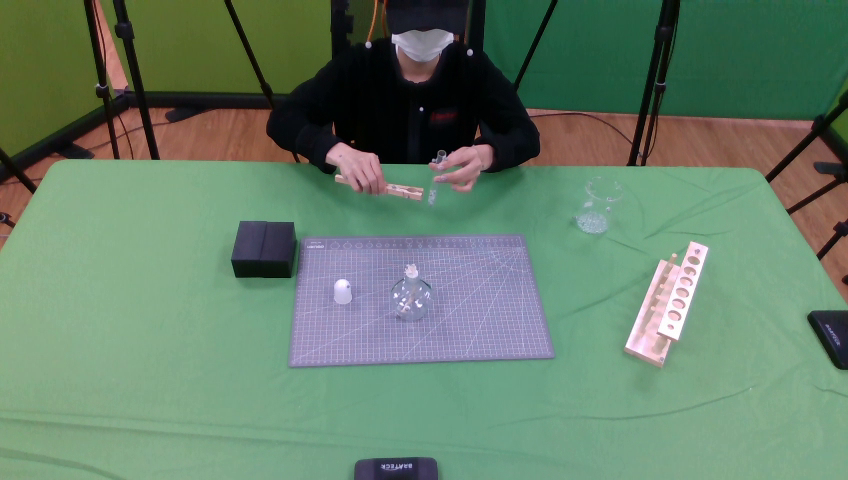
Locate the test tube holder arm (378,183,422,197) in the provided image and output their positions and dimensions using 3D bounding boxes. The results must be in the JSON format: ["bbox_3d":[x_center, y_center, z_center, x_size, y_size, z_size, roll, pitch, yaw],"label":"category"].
[{"bbox_3d":[-0.046,-0.098,1.174,0.088,0.015,0.010,8,42,6],"label":"test tube holder arm"}]

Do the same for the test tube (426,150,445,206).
[{"bbox_3d":[0.020,-0.111,1.114,0.017,0.151,0.017,4,57,-6],"label":"test tube"}]

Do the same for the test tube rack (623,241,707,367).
[{"bbox_3d":[0.435,0.104,1.089,0.066,0.085,0.242,24,49,19],"label":"test tube rack"}]

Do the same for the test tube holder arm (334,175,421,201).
[{"bbox_3d":[-0.091,-0.102,1.177,0.178,0.015,0.013,12,42,11],"label":"test tube holder arm"}]

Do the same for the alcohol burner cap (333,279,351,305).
[{"bbox_3d":[-0.148,0.090,1.083,0.034,0.048,0.033,3,47,-2],"label":"alcohol burner cap"}]

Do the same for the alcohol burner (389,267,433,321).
[{"bbox_3d":[-0.022,0.086,1.046,0.078,0.119,0.077,2,48,-3],"label":"alcohol burner"}]

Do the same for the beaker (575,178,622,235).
[{"bbox_3d":[0.356,-0.068,1.239,0.084,0.101,0.073,-18,50,-21],"label":"beaker"}]
